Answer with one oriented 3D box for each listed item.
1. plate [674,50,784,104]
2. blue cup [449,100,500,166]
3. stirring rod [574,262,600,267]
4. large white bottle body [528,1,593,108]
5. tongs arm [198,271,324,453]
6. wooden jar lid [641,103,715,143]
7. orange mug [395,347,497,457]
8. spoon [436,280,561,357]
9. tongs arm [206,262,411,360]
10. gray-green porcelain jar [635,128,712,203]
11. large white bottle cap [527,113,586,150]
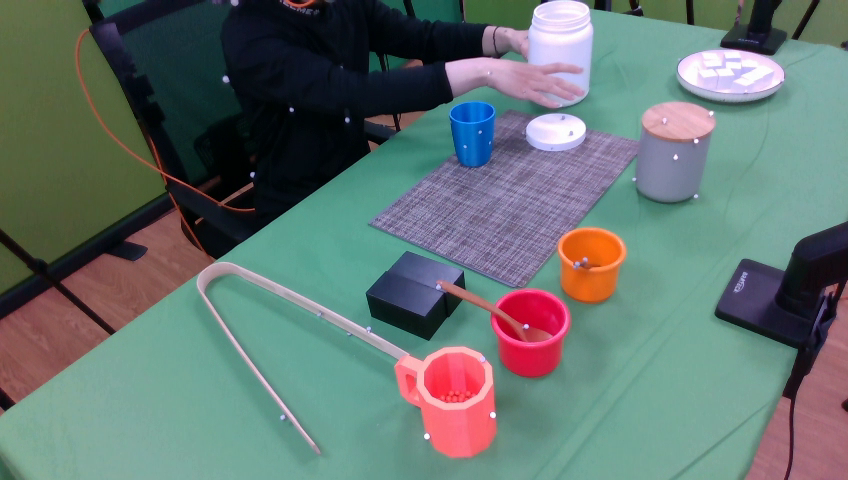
[{"bbox_3d":[0.631,-0.336,1.262,0.207,0.039,0.206,-4,41,4],"label":"plate"},{"bbox_3d":[0.092,-0.195,1.123,0.092,0.100,0.092,-3,40,3],"label":"blue cup"},{"bbox_3d":[0.222,0.033,0.816,0.014,0.006,0.177,7,1,22],"label":"stirring rod"},{"bbox_3d":[0.282,-0.386,1.260,0.130,0.185,0.130,-4,41,4],"label":"large white bottle body"},{"bbox_3d":[-0.236,0.154,0.831,0.028,0.028,0.384,-37,48,-18],"label":"tongs arm"},{"bbox_3d":[0.398,-0.180,0.952,0.108,0.021,0.108,-4,43,4],"label":"wooden jar lid"},{"bbox_3d":[0.024,0.180,0.703,0.125,0.101,0.083,21,48,23],"label":"orange mug"},{"bbox_3d":[0.096,0.095,0.757,0.195,0.021,0.041,34,40,-20],"label":"spoon"},{"bbox_3d":[-0.179,0.106,0.870,0.381,0.027,0.051,23,55,32],"label":"tongs arm"},{"bbox_3d":[0.404,-0.133,0.992,0.106,0.127,0.105,-4,40,4],"label":"gray-green porcelain jar"},{"bbox_3d":[0.259,-0.213,1.183,0.115,0.018,0.114,-4,41,4],"label":"large white bottle cap"}]
